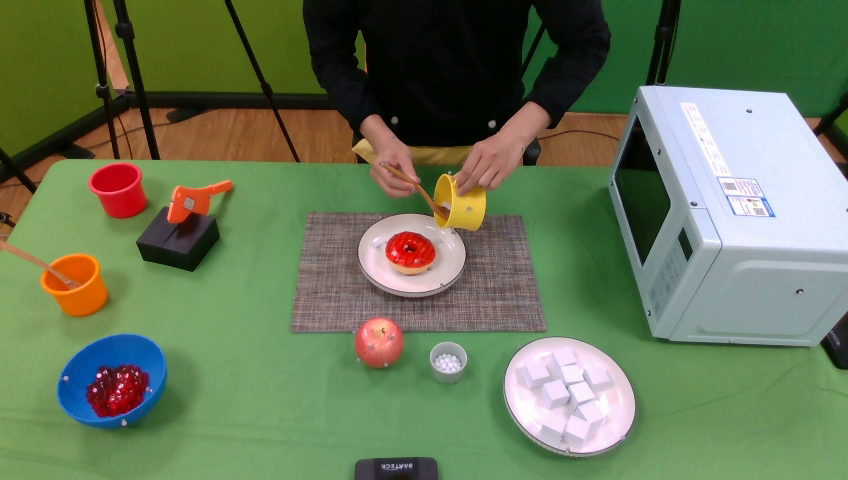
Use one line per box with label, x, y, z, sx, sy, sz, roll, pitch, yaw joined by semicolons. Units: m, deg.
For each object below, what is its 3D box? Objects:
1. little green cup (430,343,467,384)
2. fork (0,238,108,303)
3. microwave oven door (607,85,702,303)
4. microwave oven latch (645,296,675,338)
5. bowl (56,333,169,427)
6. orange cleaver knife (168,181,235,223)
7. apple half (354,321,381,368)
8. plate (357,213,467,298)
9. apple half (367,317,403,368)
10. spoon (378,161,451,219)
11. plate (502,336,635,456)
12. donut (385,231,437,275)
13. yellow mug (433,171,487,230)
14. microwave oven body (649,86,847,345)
little green cup;0.039;0.203;0.994;0.061;0.039;0.061;2;46;-2
fork;-0.633;0.048;1.017;0.208;0.018;0.028;40;41;-27
microwave oven door;0.423;-0.094;1.140;0.039;0.245;0.353;2;46;-1
microwave oven latch;0.412;0.134;1.061;0.030;0.029;0.078;3;45;0
bowl;-0.456;0.223;0.911;0.151;0.077;0.150;3;46;-2
orange cleaver knife;-0.436;-0.078;1.196;0.012;0.077;0.211;16;15;10
apple half;-0.097;0.176;0.985;0.033;0.081;0.080;-12;48;-20
plate;-0.023;0.032;1.150;0.209;0.038;0.208;2;46;-2
apple half;-0.061;0.167;0.998;0.053;0.075;0.080;-11;44;-20
spoon;-0.010;-0.088;1.065;0.021;0.195;0.041;-42;38;13
plate;0.225;0.248;0.963;0.208;0.039;0.206;2;46;-2
donut;-0.025;0.024;1.141;0.099;0.048;0.098;3;44;-3
yellow mug;0.067;-0.078;1.082;0.064;0.131;0.099;3;53;-19
microwave oven body;0.568;-0.053;1.118;0.326;0.261;0.439;2;45;-1
